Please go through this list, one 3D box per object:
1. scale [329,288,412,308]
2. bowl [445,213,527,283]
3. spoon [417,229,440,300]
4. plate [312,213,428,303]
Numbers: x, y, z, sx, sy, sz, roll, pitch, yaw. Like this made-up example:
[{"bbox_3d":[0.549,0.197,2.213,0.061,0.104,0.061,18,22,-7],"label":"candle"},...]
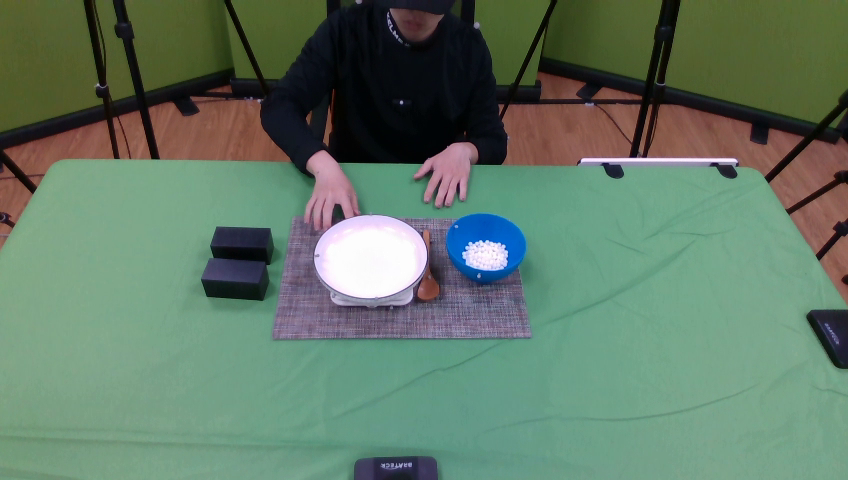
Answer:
[{"bbox_3d":[-0.098,0.042,1.139,0.149,0.032,0.199,1,46,-4],"label":"scale"},{"bbox_3d":[0.112,0.027,1.137,0.151,0.077,0.150,2,46,-2],"label":"bowl"},{"bbox_3d":[0.006,0.043,1.152,0.041,0.022,0.192,-9,45,7],"label":"spoon"},{"bbox_3d":[-0.097,0.036,1.100,0.209,0.038,0.208,2,46,-1],"label":"plate"}]
